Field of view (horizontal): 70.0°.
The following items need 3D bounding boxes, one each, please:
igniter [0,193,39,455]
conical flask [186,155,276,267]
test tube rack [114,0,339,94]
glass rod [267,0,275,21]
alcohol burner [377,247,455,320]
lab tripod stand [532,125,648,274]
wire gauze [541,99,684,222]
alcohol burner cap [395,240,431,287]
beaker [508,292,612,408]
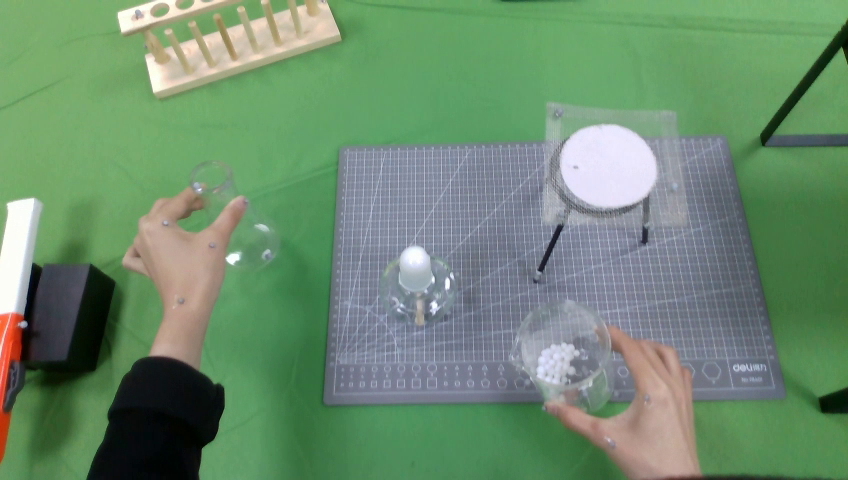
[{"bbox_3d":[-0.408,0.080,0.584,0.057,0.025,0.274,-9,66,3],"label":"igniter"},{"bbox_3d":[-0.194,-0.031,0.592,0.075,0.123,0.074,0,59,0],"label":"conical flask"},{"bbox_3d":[-0.236,-0.267,0.744,0.242,0.086,0.066,-20,67,-6],"label":"test tube rack"},{"bbox_3d":[-0.191,-0.326,0.695,0.008,0.201,0.008,1,65,-2],"label":"glass rod"},{"bbox_3d":[-0.008,0.035,0.587,0.078,0.120,0.077,0,65,1],"label":"alcohol burner"},{"bbox_3d":[0.163,-0.041,0.601,0.148,0.132,0.147,0,65,1],"label":"lab tripod stand"},{"bbox_3d":[0.167,-0.072,0.541,0.121,0.011,0.124,4,67,3],"label":"wire gauze"},{"bbox_3d":[-0.010,0.019,0.554,0.034,0.048,0.033,0,60,0],"label":"alcohol burner cap"},{"bbox_3d":[0.121,0.101,0.523,0.084,0.101,0.073,-19,57,10],"label":"beaker"}]
